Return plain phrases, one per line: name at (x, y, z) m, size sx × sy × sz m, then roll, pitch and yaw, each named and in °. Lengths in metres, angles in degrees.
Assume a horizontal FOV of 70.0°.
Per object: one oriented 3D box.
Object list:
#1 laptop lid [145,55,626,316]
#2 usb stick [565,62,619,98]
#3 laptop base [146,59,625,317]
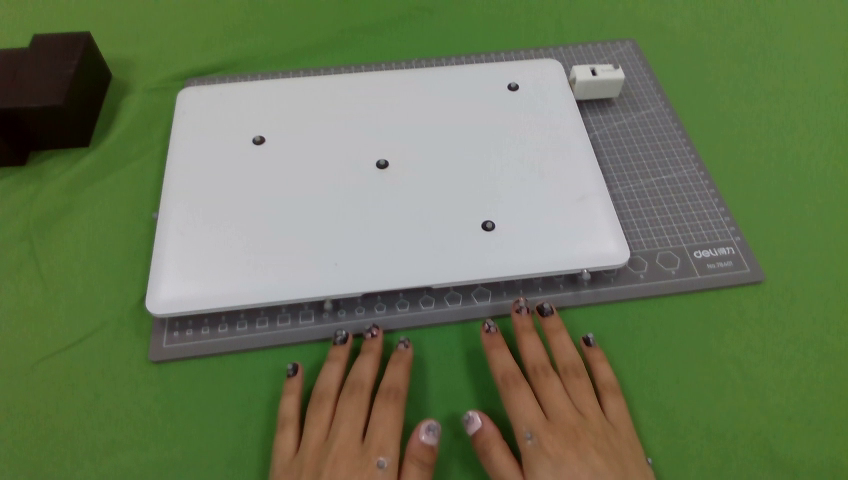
laptop lid at (-0.036, -0.060, 0.495) m, size 0.357 × 0.013 × 0.239 m, roll -5°, pitch 57°, yaw -3°
usb stick at (0.146, -0.146, 0.556) m, size 0.059 × 0.027 × 0.021 m, roll -5°, pitch 56°, yaw -2°
laptop base at (-0.036, -0.056, 0.506) m, size 0.355 × 0.023 × 0.233 m, roll -6°, pitch 58°, yaw -5°
